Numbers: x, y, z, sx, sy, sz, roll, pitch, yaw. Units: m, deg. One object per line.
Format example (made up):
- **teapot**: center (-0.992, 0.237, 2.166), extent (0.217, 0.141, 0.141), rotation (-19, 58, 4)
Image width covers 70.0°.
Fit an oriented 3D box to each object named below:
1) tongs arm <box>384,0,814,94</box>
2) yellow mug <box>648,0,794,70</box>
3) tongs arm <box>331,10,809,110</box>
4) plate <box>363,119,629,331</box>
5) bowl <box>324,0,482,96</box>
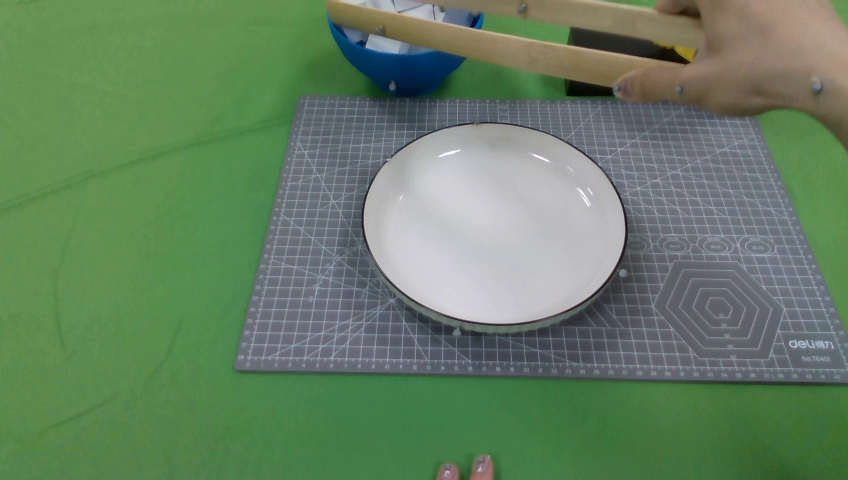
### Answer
- **tongs arm**: center (0.092, -0.170, 0.472), extent (0.381, 0.027, 0.050), rotation (22, 57, 33)
- **yellow mug**: center (0.265, -0.210, 0.556), extent (0.131, 0.064, 0.099), rotation (-12, 54, -7)
- **tongs arm**: center (0.068, -0.144, 0.456), extent (0.384, 0.028, 0.028), rotation (21, 53, 33)
- **plate**: center (0.056, -0.014, 0.490), extent (0.208, 0.039, 0.205), rotation (0, 54, 0)
- **bowl**: center (-0.019, -0.199, 0.604), extent (0.151, 0.077, 0.150), rotation (0, 53, 1)
